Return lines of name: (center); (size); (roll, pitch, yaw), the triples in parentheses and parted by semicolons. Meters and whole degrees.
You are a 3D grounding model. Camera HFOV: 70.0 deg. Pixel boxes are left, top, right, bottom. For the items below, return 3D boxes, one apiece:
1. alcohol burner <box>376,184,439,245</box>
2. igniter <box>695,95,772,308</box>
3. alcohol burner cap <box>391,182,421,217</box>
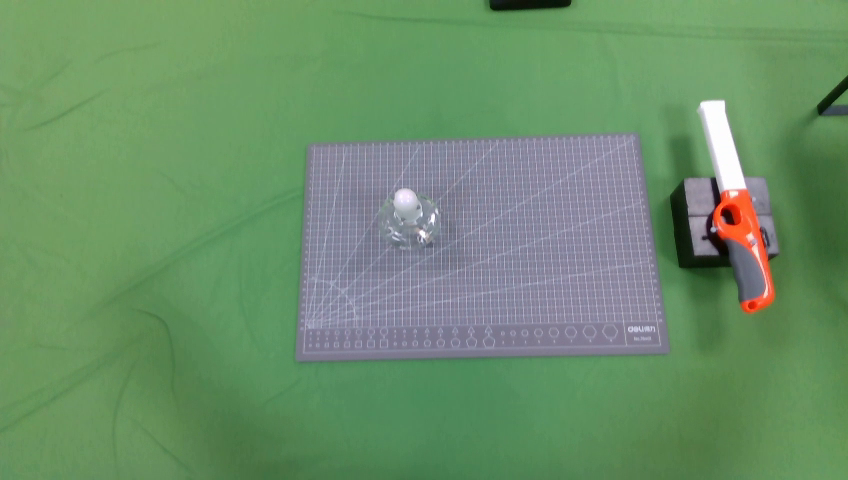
alcohol burner: (-0.021, -0.037, 0.730); (0.078, 0.120, 0.077); (0, 71, 0)
igniter: (0.366, -0.052, 0.722); (0.057, 0.025, 0.274); (-2, 68, 1)
alcohol burner cap: (-0.022, -0.048, 0.696); (0.034, 0.048, 0.033); (-2, 75, 7)
